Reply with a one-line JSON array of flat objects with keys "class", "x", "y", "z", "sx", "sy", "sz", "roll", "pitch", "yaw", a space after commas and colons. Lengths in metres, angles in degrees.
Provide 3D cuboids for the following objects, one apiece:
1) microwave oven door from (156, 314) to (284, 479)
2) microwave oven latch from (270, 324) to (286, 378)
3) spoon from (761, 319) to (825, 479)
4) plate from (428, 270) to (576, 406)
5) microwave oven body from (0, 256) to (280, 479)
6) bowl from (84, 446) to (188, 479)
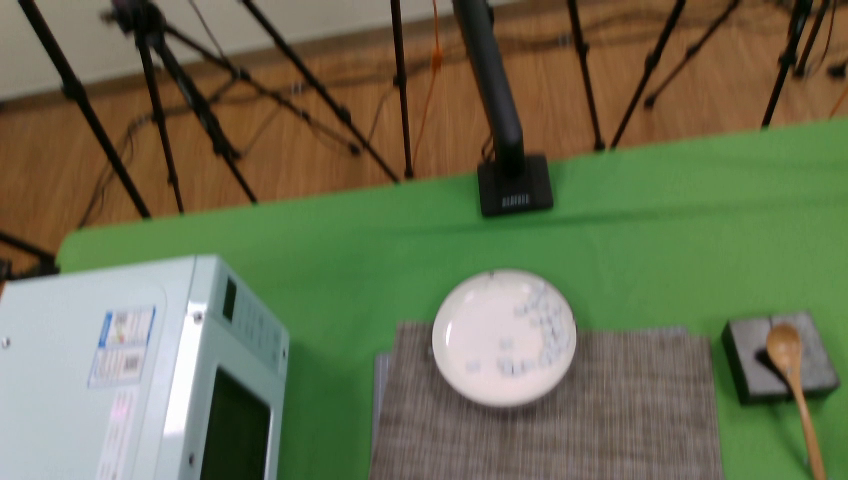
[{"class": "microwave oven door", "x": -0.238, "y": 0.296, "z": 0.712, "sx": 0.039, "sy": 0.246, "sz": 0.352, "roll": -9, "pitch": 57, "yaw": 8}, {"class": "microwave oven latch", "x": -0.226, "y": 0.167, "z": 0.914, "sx": 0.030, "sy": 0.030, "sz": 0.078, "roll": -8, "pitch": 58, "yaw": 7}, {"class": "spoon", "x": 0.451, "y": 0.192, "z": 0.733, "sx": 0.041, "sy": 0.022, "sz": 0.193, "roll": -12, "pitch": 79, "yaw": 4}, {"class": "plate", "x": 0.112, "y": 0.141, "z": 0.871, "sx": 0.209, "sy": 0.038, "sz": 0.207, "roll": -6, "pitch": 56, "yaw": 9}, {"class": "microwave oven body", "x": -0.382, "y": 0.285, "z": 0.758, "sx": 0.326, "sy": 0.263, "sz": 0.437, "roll": -8, "pitch": 57, "yaw": 7}, {"class": "bowl", "x": -0.349, "y": 0.342, "z": 0.752, "sx": 0.151, "sy": 0.077, "sz": 0.150, "roll": -6, "pitch": 56, "yaw": 9}]
